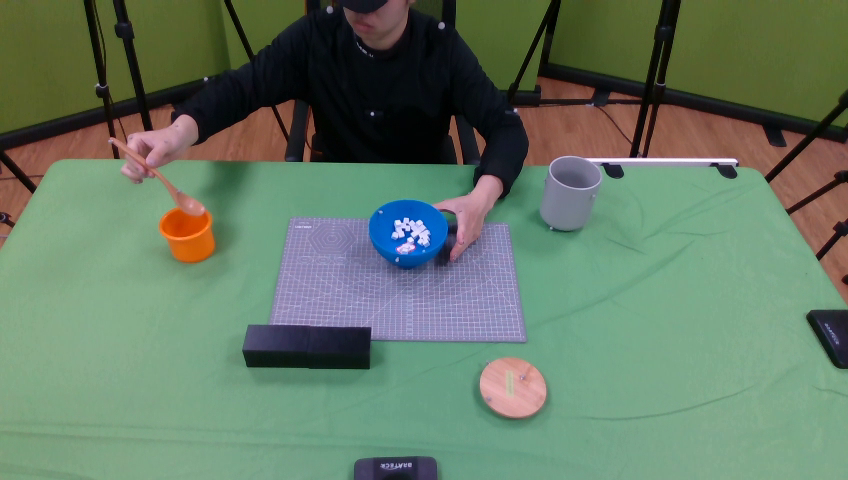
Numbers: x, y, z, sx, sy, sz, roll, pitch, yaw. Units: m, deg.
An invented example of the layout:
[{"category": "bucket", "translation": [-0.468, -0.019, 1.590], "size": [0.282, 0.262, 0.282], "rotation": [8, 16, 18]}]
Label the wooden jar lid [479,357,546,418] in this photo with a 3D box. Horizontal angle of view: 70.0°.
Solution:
[{"category": "wooden jar lid", "translation": [0.142, 0.240, 0.979], "size": [0.108, 0.021, 0.107], "rotation": [1, 46, -1]}]

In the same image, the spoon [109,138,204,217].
[{"category": "spoon", "translation": [-0.461, -0.108, 1.052], "size": [0.021, 0.195, 0.041], "rotation": [-26, 33, 21]}]

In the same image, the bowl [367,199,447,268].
[{"category": "bowl", "translation": [-0.033, 0.000, 1.152], "size": [0.151, 0.077, 0.150], "rotation": [2, 46, -2]}]

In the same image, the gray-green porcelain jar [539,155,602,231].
[{"category": "gray-green porcelain jar", "translation": [0.294, -0.091, 1.235], "size": [0.106, 0.127, 0.105], "rotation": [2, 46, -2]}]
